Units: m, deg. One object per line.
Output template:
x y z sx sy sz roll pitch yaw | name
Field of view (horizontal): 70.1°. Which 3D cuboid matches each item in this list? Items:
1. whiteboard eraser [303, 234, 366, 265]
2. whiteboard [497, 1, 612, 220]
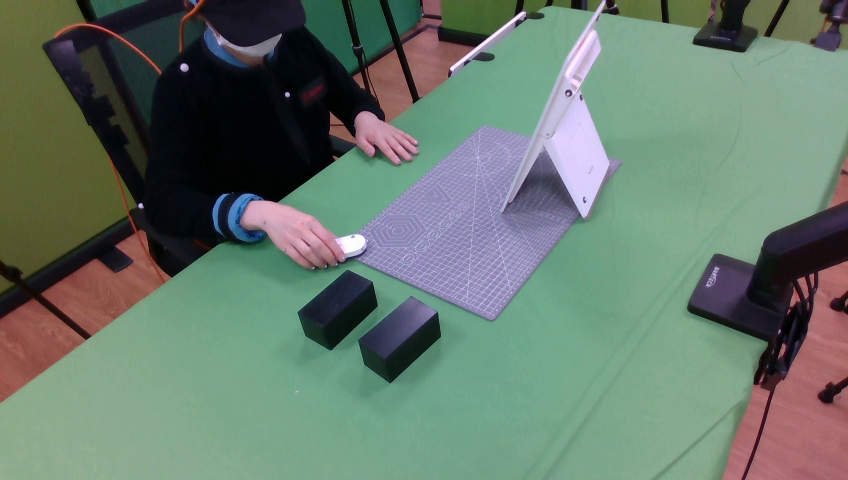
-0.144 0.015 0.971 0.101 0.019 0.041 -12 42 -1 | whiteboard eraser
0.259 -0.177 0.963 0.143 0.306 0.217 28 48 9 | whiteboard
